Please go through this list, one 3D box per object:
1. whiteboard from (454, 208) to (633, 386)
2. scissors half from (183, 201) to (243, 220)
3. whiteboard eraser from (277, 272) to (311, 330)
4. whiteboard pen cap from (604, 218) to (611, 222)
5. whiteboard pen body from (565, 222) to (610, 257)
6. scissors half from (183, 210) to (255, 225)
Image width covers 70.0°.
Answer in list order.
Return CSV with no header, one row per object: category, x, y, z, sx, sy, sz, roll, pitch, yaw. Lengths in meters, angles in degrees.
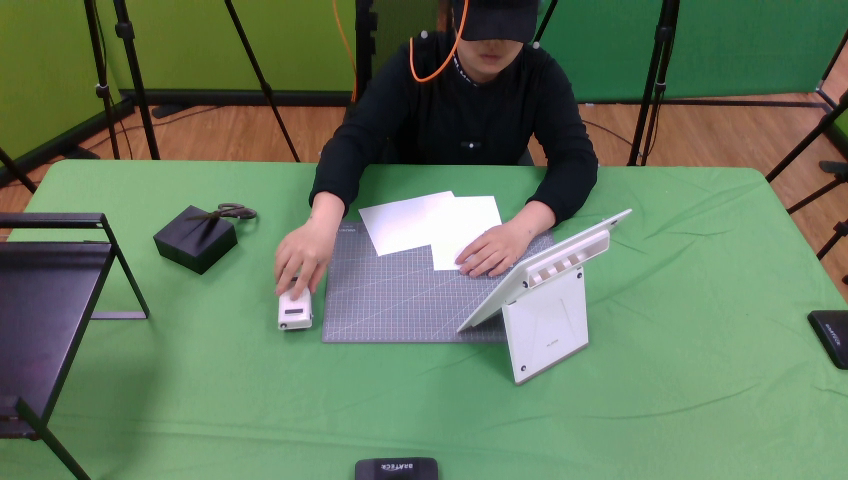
whiteboard,0.211,0.111,0.954,0.217,0.306,0.143,-22,72,-24
scissors half,-0.405,-0.054,1.163,0.040,0.013,0.175,30,18,7
whiteboard eraser,-0.228,0.108,1.062,0.056,0.042,0.112,-2,46,-10
whiteboard pen cap,0.379,-0.031,1.255,0.033,0.018,0.018,-33,57,-29
whiteboard pen body,0.334,-0.004,1.228,0.141,0.017,0.017,-33,56,-29
scissors half,-0.389,-0.042,1.158,0.040,0.013,0.175,41,21,22
